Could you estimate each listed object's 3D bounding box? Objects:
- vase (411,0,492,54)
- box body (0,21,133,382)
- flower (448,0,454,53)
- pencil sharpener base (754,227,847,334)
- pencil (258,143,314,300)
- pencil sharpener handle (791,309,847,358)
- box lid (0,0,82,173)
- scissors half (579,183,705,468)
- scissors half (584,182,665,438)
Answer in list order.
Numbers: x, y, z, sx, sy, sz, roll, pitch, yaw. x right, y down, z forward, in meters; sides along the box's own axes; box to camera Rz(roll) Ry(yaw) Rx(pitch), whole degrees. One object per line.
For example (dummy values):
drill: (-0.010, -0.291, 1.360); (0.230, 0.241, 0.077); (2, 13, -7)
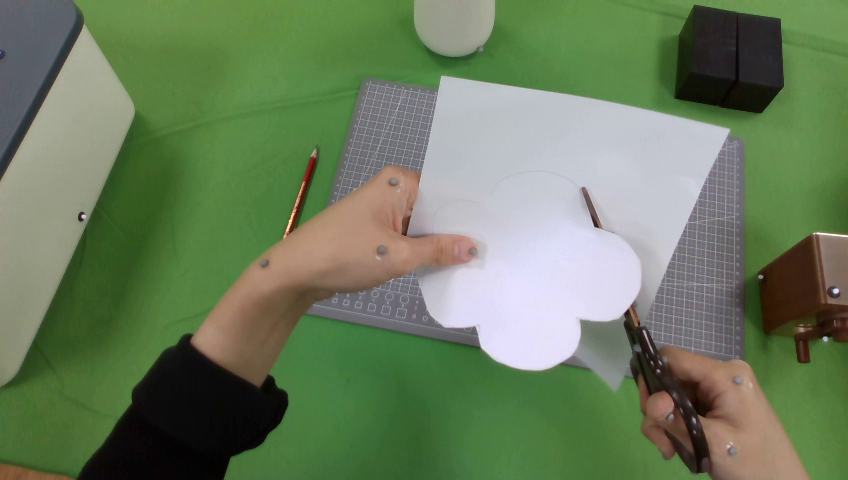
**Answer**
vase: (0.032, -0.302, 0.669); (0.098, 0.201, 0.097); (0, 66, 1)
box body: (-0.481, -0.059, 0.587); (0.254, 0.161, 0.361); (10, 68, 4)
flower: (0.027, -0.348, 0.597); (0.044, 0.365, 0.038); (3, 49, 5)
pencil sharpener base: (0.371, 0.045, 0.576); (0.061, 0.108, 0.076); (6, 68, 3)
pencil: (-0.146, -0.026, 0.658); (0.012, 0.012, 0.193); (11, 66, 5)
pencil sharpener handle: (0.361, 0.086, 0.546); (0.036, 0.068, 0.030); (11, 67, -10)
box lid: (-0.481, -0.090, 0.518); (0.263, 0.015, 0.369); (11, 68, 4)
scissors half: (0.123, 0.048, 0.345); (0.013, 0.040, 0.175); (-22, 87, -1)
scissors half: (0.123, 0.045, 0.366); (0.013, 0.040, 0.176); (-21, 109, 4)
